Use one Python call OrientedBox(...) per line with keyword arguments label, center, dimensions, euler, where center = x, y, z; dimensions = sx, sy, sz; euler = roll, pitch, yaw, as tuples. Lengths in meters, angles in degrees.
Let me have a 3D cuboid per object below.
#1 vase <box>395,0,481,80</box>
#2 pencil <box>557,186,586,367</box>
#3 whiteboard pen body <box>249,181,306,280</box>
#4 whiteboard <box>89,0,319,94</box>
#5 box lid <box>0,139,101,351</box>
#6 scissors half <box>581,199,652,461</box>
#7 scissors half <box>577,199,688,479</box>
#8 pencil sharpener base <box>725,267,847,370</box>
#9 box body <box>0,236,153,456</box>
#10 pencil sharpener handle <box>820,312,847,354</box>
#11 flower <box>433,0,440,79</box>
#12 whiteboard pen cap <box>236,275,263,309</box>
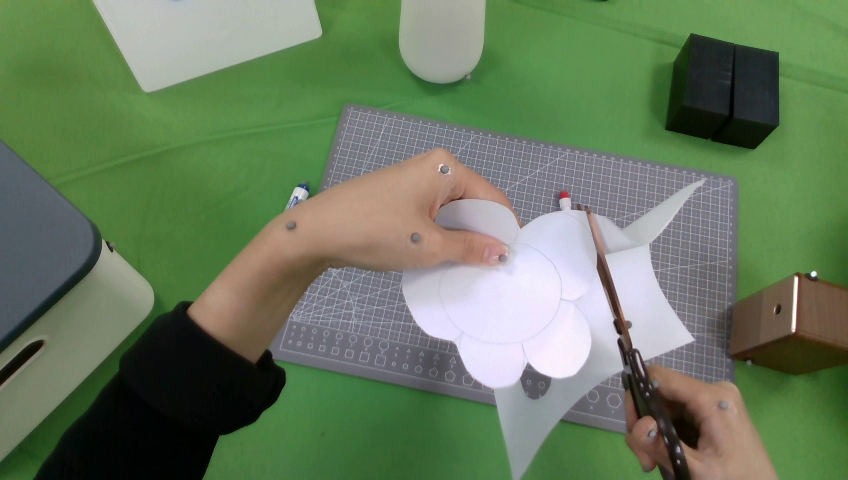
OrientedBox(label="vase", center=(0.016, -0.260, 0.633), dimensions=(0.098, 0.201, 0.097), euler=(0, 67, -1))
OrientedBox(label="pencil", center=(0.153, 0.033, 0.625), dimensions=(0.012, 0.012, 0.192), euler=(-2, 71, -2))
OrientedBox(label="whiteboard pen body", center=(-0.154, 0.000, 0.622), dimensions=(0.017, 0.017, 0.140), euler=(18, 68, 5))
OrientedBox(label="whiteboard", center=(-0.266, -0.349, 0.632), dimensions=(0.217, 0.308, 0.142), euler=(-21, 52, -9))
OrientedBox(label="box lid", center=(-0.461, -0.015, 0.459), dimensions=(0.370, 0.015, 0.263), euler=(37, 72, 11))
OrientedBox(label="scissors half", center=(0.117, 0.056, 0.360), dimensions=(0.013, 0.040, 0.176), euler=(-18, 109, 8))
OrientedBox(label="scissors half", center=(0.116, 0.060, 0.340), dimensions=(0.013, 0.040, 0.175), euler=(-19, 87, 3))
OrientedBox(label="pencil sharpener base", center=(0.345, 0.077, 0.564), dimensions=(0.077, 0.107, 0.061), euler=(15, 68, 1))
OrientedBox(label="box body", center=(-0.461, 0.013, 0.528), dimensions=(0.362, 0.161, 0.253), euler=(37, 72, 11))
OrientedBox(label="pencil sharpener handle", center=(0.394, 0.087, 0.552), dimensions=(0.030, 0.068, 0.036), euler=(15, 63, 1))
OrientedBox(label="flower", center=(0.014, -0.304, 0.561), dimensions=(0.044, 0.365, 0.038), euler=(5, 51, 4))
OrientedBox(label="whiteboard pen cap", center=(-0.171, 0.051, 0.600), dimensions=(0.018, 0.018, 0.033), euler=(17, 65, 5))
